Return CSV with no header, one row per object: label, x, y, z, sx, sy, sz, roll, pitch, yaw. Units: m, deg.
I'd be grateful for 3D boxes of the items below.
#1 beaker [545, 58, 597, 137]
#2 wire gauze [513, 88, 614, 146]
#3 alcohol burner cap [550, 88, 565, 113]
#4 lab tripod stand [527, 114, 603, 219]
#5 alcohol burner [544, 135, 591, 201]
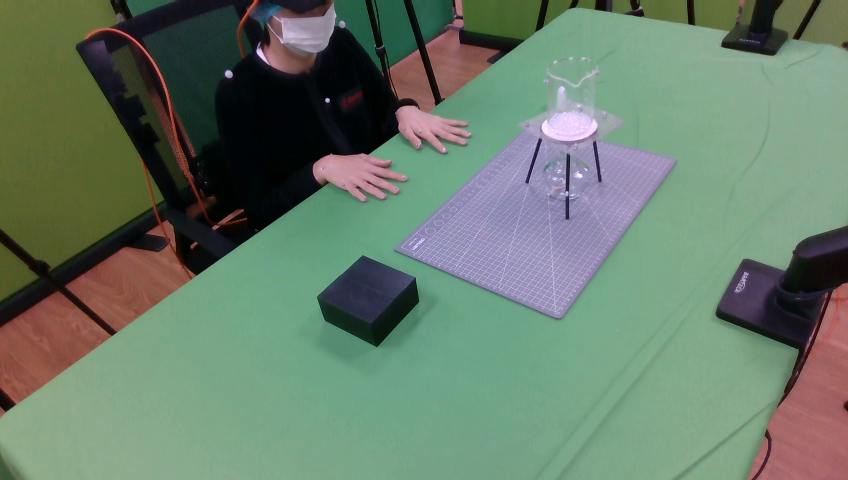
beaker,0.225,-0.215,0.927,0.074,0.101,0.083,-6,40,5
wire gauze,0.220,-0.193,0.952,0.120,0.011,0.125,22,53,27
alcohol burner cap,0.281,-0.296,1.271,0.034,0.048,0.033,-5,41,5
lab tripod stand,0.234,-0.129,1.002,0.148,0.132,0.147,-6,40,6
alcohol burner,0.240,-0.125,1.012,0.078,0.119,0.077,-5,42,5
